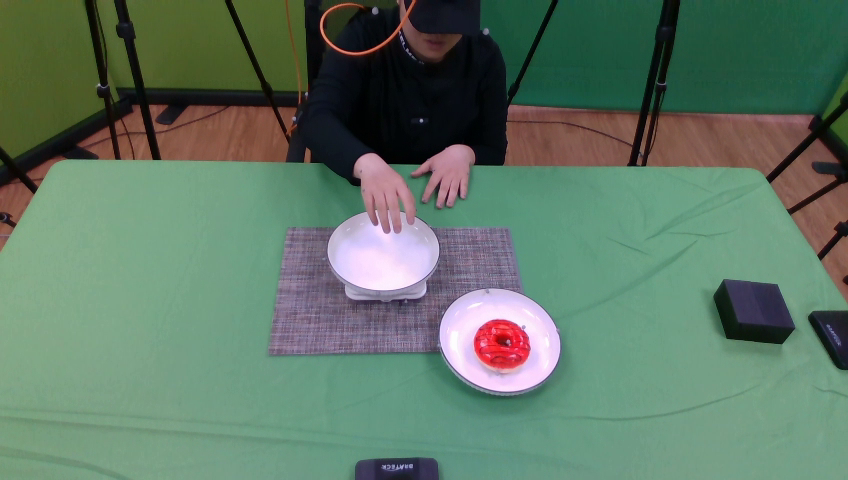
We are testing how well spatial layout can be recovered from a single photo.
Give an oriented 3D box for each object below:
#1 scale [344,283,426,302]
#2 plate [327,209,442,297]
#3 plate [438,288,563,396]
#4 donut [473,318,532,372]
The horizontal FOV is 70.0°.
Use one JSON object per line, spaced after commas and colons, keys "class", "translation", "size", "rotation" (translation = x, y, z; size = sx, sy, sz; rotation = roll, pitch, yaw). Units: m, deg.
{"class": "scale", "translation": [-0.075, 0.033, 1.149], "size": [0.149, 0.032, 0.199], "rotation": [0, 45, -5]}
{"class": "plate", "translation": [-0.072, 0.027, 1.110], "size": [0.208, 0.039, 0.206], "rotation": [2, 46, -1]}
{"class": "plate", "translation": [0.127, 0.173, 1.025], "size": [0.209, 0.038, 0.208], "rotation": [3, 48, -3]}
{"class": "donut", "translation": [0.131, 0.174, 1.010], "size": [0.099, 0.048, 0.098], "rotation": [1, 48, -1]}
